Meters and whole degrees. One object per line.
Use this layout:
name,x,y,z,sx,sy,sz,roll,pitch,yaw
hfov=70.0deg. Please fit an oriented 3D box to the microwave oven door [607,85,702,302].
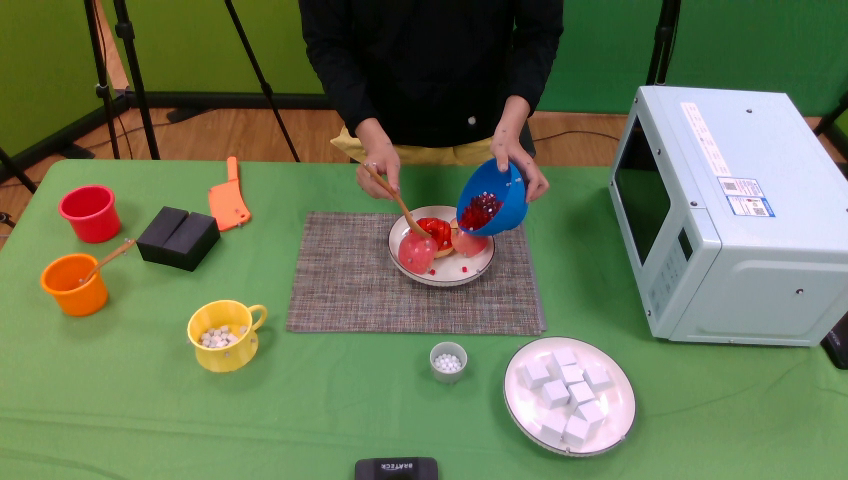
microwave oven door,0.423,-0.094,1.141,0.039,0.245,0.353,2,46,-1

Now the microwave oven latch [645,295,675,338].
microwave oven latch,0.412,0.134,1.062,0.030,0.029,0.078,3,45,0

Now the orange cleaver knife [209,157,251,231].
orange cleaver knife,-0.409,-0.099,1.266,0.077,0.012,0.210,-14,50,-10

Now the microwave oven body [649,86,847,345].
microwave oven body,0.568,-0.053,1.118,0.326,0.261,0.439,2,45,-1

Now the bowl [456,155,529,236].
bowl,0.134,-0.067,1.082,0.077,0.151,0.150,27,39,-27

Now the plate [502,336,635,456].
plate,0.225,0.248,0.964,0.208,0.039,0.206,2,46,-2

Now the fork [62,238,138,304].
fork,-0.547,0.053,1.018,0.207,0.019,0.028,-36,41,23

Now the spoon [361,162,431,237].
spoon,-0.047,-0.069,1.059,0.021,0.195,0.041,-44,30,-11

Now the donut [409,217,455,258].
donut,0.020,-0.006,1.174,0.099,0.048,0.098,2,42,-2

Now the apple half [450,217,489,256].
apple half,0.092,-0.013,1.159,0.075,0.053,0.080,34,39,-28

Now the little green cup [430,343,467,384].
little green cup,0.039,0.203,0.993,0.061,0.039,0.061,2,46,-2

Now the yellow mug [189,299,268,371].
yellow mug,-0.316,0.148,1.002,0.131,0.064,0.099,-33,56,-31

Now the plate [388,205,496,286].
plate,0.033,0.014,1.171,0.209,0.038,0.208,2,46,-2

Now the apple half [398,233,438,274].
apple half,-0.016,0.022,1.123,0.081,0.033,0.081,-2,83,14
